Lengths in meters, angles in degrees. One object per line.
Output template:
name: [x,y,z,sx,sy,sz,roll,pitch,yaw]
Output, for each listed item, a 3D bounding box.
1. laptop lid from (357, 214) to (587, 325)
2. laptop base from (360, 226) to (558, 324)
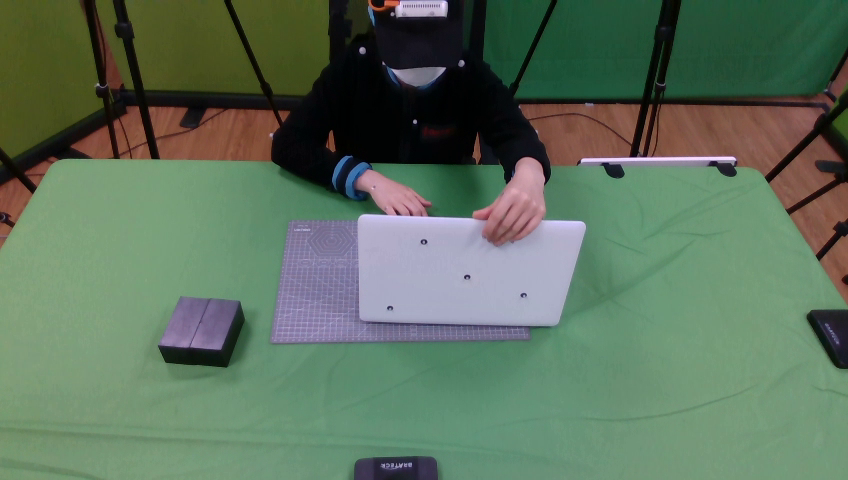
laptop lid: [0.069,0.056,0.983,0.357,0.243,0.013,3,40,-4]
laptop base: [0.061,0.063,1.145,0.355,0.023,0.234,2,43,-3]
